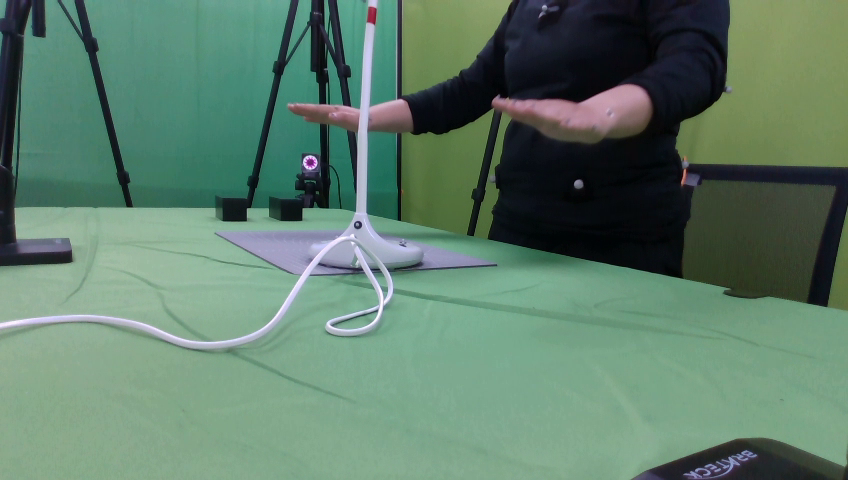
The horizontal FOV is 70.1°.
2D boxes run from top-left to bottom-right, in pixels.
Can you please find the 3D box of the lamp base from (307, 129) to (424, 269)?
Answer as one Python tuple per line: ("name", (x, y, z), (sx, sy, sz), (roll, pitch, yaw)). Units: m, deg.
("lamp base", (-0.076, -0.057, 0.811), (0.161, 0.180, 0.179), (2, 10, -4))
